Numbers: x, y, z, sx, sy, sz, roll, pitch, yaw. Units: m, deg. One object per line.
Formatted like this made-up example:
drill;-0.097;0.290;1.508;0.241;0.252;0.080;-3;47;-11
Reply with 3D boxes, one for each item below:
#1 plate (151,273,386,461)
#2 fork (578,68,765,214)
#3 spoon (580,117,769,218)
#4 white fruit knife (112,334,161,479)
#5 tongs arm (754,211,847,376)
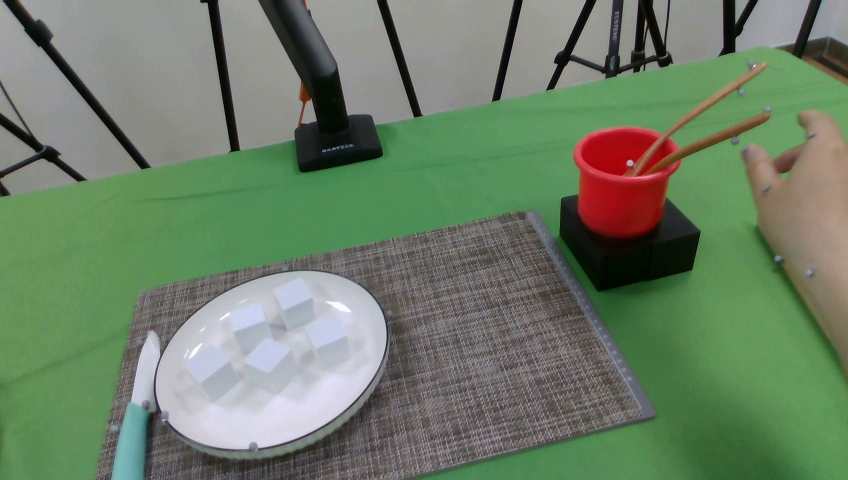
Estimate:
plate;-0.136;0.113;0.554;0.207;0.039;0.205;-4;39;4
fork;0.234;-0.091;0.583;0.207;0.019;0.028;-43;12;19
spoon;0.216;-0.061;0.547;0.041;0.194;0.021;-37;89;-38
white fruit knife;-0.252;0.155;0.539;0.027;0.016;0.205;11;30;-24
tongs arm;0.366;0.097;0.508;0.028;0.028;0.383;-3;39;2
